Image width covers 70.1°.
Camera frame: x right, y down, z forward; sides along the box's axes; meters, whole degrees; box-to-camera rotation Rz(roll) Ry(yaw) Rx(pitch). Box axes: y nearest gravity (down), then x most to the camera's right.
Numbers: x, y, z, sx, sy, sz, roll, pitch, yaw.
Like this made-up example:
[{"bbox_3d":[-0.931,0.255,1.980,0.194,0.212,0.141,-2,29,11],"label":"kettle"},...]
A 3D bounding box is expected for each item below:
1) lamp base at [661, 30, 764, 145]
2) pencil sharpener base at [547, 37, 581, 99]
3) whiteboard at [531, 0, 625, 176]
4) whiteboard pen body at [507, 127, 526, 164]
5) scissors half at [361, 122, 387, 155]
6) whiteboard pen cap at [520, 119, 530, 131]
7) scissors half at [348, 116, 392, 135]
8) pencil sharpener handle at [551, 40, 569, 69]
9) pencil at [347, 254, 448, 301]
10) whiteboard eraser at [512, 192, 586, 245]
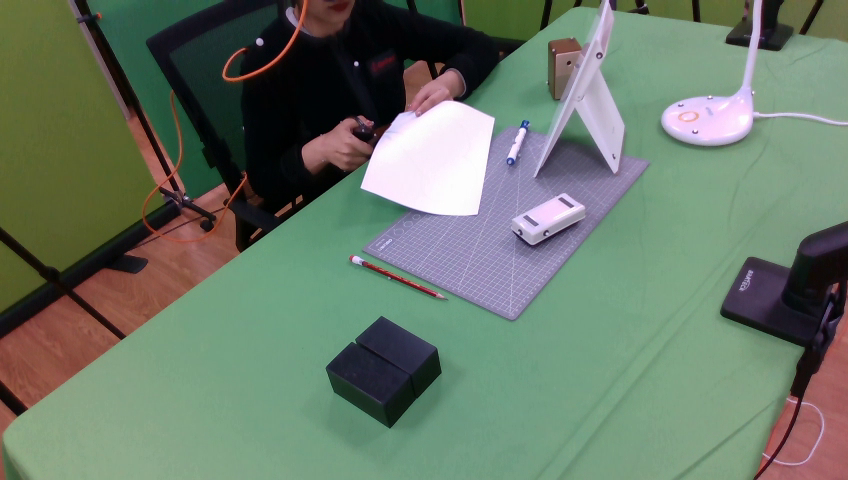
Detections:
[{"bbox_3d":[0.535,-0.287,1.096,0.179,0.181,0.159,-10,40,-4],"label":"lamp base"},{"bbox_3d":[0.299,-0.368,1.290,0.061,0.107,0.076,-8,40,2],"label":"pencil sharpener base"},{"bbox_3d":[0.320,-0.258,1.050,0.144,0.306,0.217,22,45,5],"label":"whiteboard"},{"bbox_3d":[0.181,-0.189,1.163,0.017,0.017,0.140,7,42,19],"label":"whiteboard pen body"},{"bbox_3d":[-0.095,-0.201,1.183,0.013,0.174,0.040,-36,92,-18],"label":"scissors half"},{"bbox_3d":[0.199,-0.226,1.204,0.018,0.018,0.033,7,41,18],"label":"whiteboard pen cap"},{"bbox_3d":[-0.107,-0.219,1.177,0.013,0.040,0.173,-41,32,-17],"label":"scissors half"},{"bbox_3d":[0.291,-0.409,1.321,0.036,0.068,0.030,2,40,-6],"label":"pencil sharpener handle"},{"bbox_3d":[-0.044,0.058,0.933,0.192,0.012,0.012,22,49,29],"label":"pencil"},{"bbox_3d":[0.199,-0.032,0.962,0.113,0.042,0.055,-27,43,-20],"label":"whiteboard eraser"}]
